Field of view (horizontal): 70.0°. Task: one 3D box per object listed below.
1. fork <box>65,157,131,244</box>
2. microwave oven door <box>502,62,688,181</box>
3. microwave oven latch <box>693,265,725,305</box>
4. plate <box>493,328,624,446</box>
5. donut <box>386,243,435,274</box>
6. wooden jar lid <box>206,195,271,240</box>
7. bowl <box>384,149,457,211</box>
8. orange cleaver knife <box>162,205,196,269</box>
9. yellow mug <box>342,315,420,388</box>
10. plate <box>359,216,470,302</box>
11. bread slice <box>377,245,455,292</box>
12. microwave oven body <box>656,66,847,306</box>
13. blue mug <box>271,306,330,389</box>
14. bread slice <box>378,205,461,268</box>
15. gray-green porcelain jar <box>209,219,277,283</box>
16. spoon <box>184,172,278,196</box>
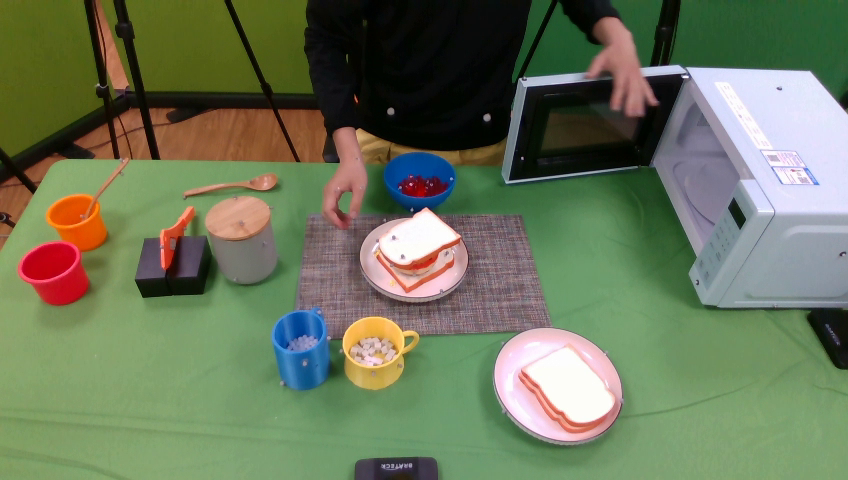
[{"bbox_3d":[-0.608,-0.074,1.132,0.207,0.019,0.028,-52,47,10],"label":"fork"},{"bbox_3d":[0.353,-0.247,1.276,0.356,0.245,0.039,-8,48,-11],"label":"microwave oven door"},{"bbox_3d":[0.523,0.082,1.116,0.030,0.029,0.078,2,46,-1],"label":"microwave oven latch"},{"bbox_3d":[0.213,0.236,0.974,0.208,0.039,0.206,2,46,-2],"label":"plate"},{"bbox_3d":[-0.024,0.019,1.120,0.099,0.048,0.098,-14,48,16],"label":"donut"},{"bbox_3d":[-0.319,-0.036,1.046,0.108,0.021,0.107,1,44,0],"label":"wooden jar lid"},{"bbox_3d":[-0.009,-0.112,1.262,0.151,0.077,0.150,2,46,-2],"label":"bowl"},{"bbox_3d":[-0.454,-0.010,1.129,0.012,0.077,0.210,-2,20,-5],"label":"orange cleaver knife"},{"bbox_3d":[-0.068,0.177,0.990,0.131,0.064,0.099,-16,50,-19],"label":"yellow mug"},{"bbox_3d":[-0.019,0.038,1.140,0.209,0.038,0.208,2,46,-2],"label":"plate"},{"bbox_3d":[-0.009,0.033,1.149,0.131,0.019,0.104,-28,55,-24],"label":"bread slice"},{"bbox_3d":[0.669,-0.111,1.176,0.326,0.261,0.439,0,46,-3],"label":"microwave oven body"},{"bbox_3d":[-0.188,0.163,0.969,0.082,0.106,0.116,15,47,10],"label":"blue mug"},{"bbox_3d":[-0.014,-0.002,1.097,0.134,0.018,0.106,-34,50,-22],"label":"bread slice"},{"bbox_3d":[-0.323,0.007,1.092,0.106,0.127,0.105,2,46,-1],"label":"gray-green porcelain jar"},{"bbox_3d":[-0.405,-0.116,1.275,0.194,0.022,0.041,-8,63,-12],"label":"spoon"}]
